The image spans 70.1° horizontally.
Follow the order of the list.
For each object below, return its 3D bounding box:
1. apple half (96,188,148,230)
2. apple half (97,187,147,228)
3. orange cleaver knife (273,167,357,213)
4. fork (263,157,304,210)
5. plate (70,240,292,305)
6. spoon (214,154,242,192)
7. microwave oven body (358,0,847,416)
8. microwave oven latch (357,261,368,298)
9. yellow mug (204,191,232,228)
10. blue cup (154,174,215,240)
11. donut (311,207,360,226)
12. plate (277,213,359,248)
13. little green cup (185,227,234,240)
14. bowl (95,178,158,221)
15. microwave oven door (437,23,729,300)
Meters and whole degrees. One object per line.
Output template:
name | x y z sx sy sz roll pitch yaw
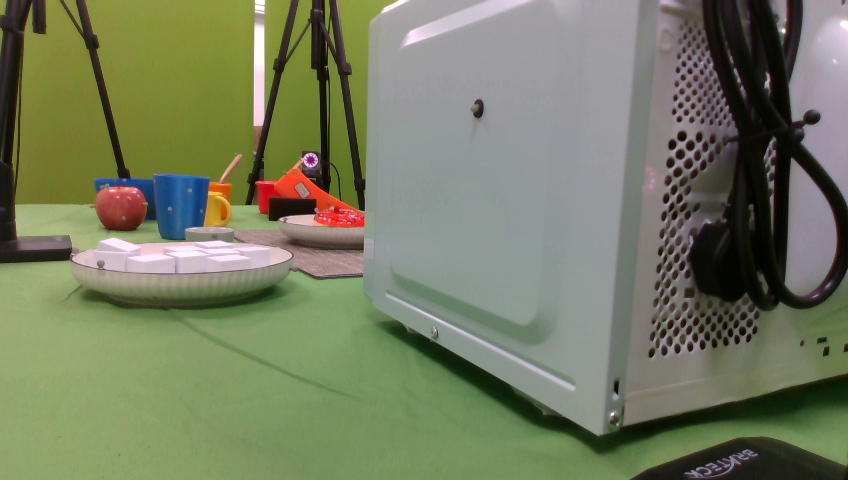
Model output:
apple half | -0.517 -0.052 1.036 0.081 0.074 0.053 2 10 -26
apple half | -0.534 -0.059 1.070 0.082 0.081 0.032 -1 11 -25
orange cleaver knife | -0.238 -0.091 1.381 0.212 0.077 0.012 31 0 -19
fork | -0.345 -0.143 1.505 0.028 0.019 0.207 -3 46 27
plate | -0.242 0.031 0.618 0.208 0.039 0.207 2 8 0
spoon | -0.439 -0.124 1.318 0.041 0.193 0.022 6 -36 16
microwave oven body | 0.211 -0.047 0.474 0.444 0.260 0.324 -1 7 -28
microwave oven latch | -0.019 0.033 0.530 0.079 0.029 0.030 -1 7 -27
yellow mug | -0.415 -0.057 1.131 0.130 0.064 0.100 6 8 16
blue cup | -0.391 -0.053 0.978 0.093 0.100 0.092 4 6 0
donut | -0.137 -0.029 0.995 0.099 0.048 0.099 4 9 0
plate | -0.135 -0.017 0.992 0.209 0.038 0.209 2 8 0
little green cup | -0.285 0.005 0.805 0.061 0.038 0.061 2 8 0
bowl | -0.576 -0.081 1.217 0.151 0.077 0.151 3 8 0
microwave oven door | 0.181 -0.072 0.620 0.358 0.243 0.039 -2 8 -29
